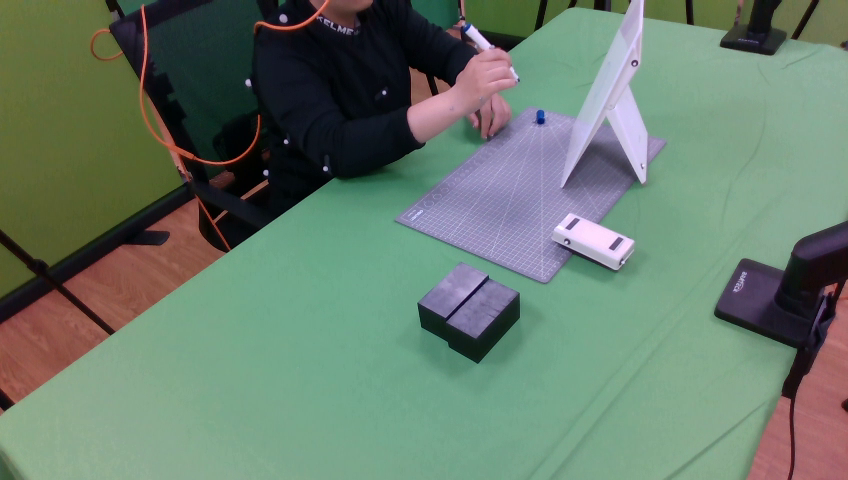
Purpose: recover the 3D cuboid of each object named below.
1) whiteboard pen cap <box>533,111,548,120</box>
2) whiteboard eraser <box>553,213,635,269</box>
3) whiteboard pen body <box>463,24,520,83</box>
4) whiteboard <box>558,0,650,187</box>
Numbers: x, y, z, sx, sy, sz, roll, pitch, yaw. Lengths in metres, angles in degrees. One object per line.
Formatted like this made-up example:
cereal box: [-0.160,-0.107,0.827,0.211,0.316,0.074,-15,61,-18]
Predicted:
whiteboard pen cap: [0.239,-0.255,1.238,0.018,0.018,0.033,-28,27,-22]
whiteboard eraser: [0.258,0.003,0.918,0.112,0.042,0.056,27,49,30]
whiteboard pen body: [0.118,-0.314,1.029,0.017,0.142,0.017,-36,33,28]
whiteboard: [0.362,-0.238,1.026,0.144,0.306,0.217,21,45,4]
